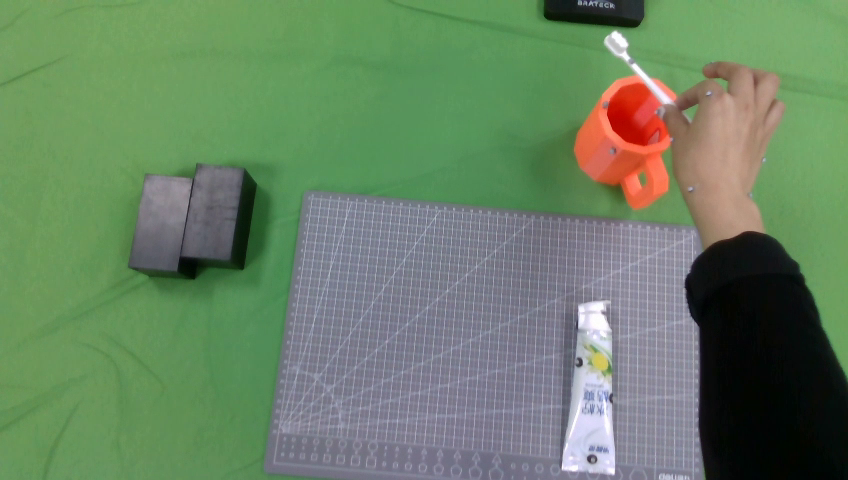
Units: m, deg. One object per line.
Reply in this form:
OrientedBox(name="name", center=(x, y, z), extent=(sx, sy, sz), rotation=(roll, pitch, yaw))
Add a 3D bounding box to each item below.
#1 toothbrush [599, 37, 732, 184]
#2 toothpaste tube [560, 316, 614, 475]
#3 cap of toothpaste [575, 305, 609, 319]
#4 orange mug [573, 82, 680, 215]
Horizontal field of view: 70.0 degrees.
OrientedBox(name="toothbrush", center=(0.231, -0.124, 0.576), extent=(0.014, 0.017, 0.181), rotation=(-39, 86, -18))
OrientedBox(name="toothpaste tube", center=(0.172, 0.158, 0.632), extent=(0.055, 0.034, 0.164), rotation=(3, 81, 6))
OrientedBox(name="cap of toothpaste", center=(0.179, 0.077, 0.644), extent=(0.037, 0.037, 0.011), rotation=(-7, 74, -4))
OrientedBox(name="orange mug", center=(0.223, -0.094, 0.657), extent=(0.083, 0.101, 0.125), rotation=(-16, 73, -5))
